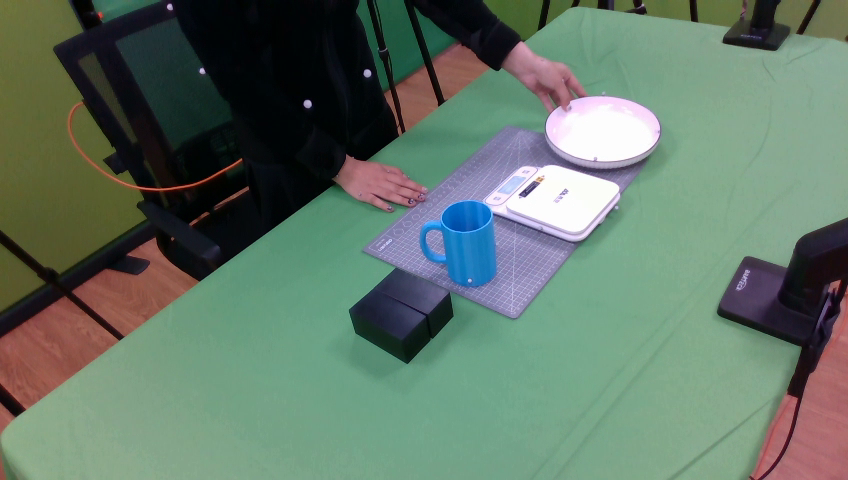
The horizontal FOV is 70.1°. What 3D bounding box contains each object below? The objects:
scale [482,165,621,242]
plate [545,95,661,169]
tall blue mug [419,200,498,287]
[{"bbox_3d":[0.211,-0.070,1.014,0.199,0.032,0.149,23,49,33],"label":"scale"},{"bbox_3d":[0.329,-0.197,1.124,0.209,0.038,0.208,-3,46,3],"label":"plate"},{"bbox_3d":[0.053,0.010,0.889,0.107,0.108,0.077,-16,41,-7],"label":"tall blue mug"}]
